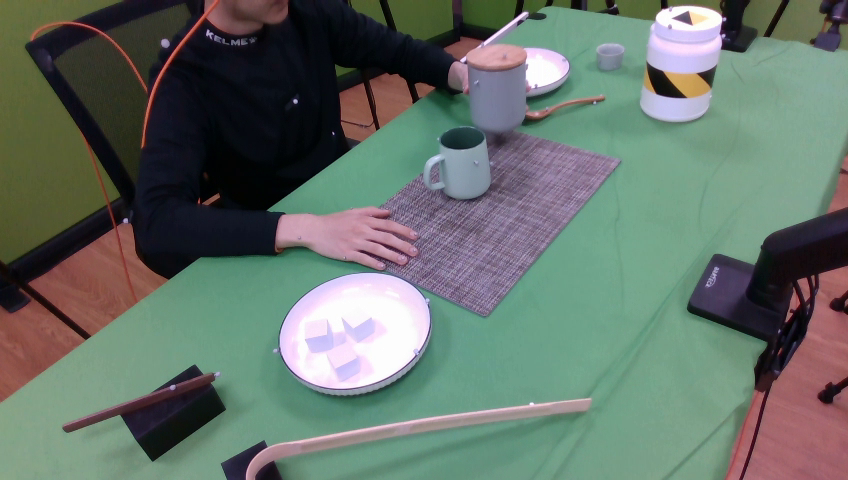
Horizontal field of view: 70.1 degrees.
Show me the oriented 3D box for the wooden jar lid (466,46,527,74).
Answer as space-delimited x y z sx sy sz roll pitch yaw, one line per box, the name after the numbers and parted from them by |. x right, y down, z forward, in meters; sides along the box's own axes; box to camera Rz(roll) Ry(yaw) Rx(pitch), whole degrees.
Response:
0.128 -0.317 1.075 0.108 0.021 0.108 -3 35 2 | wooden jar lid

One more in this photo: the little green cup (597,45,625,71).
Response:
0.423 -0.413 1.375 0.061 0.039 0.061 -3 41 3 | little green cup

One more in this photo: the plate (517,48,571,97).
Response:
0.223 -0.371 1.357 0.209 0.038 0.208 -4 41 4 | plate

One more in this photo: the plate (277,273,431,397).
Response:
-0.091 0.129 0.821 0.207 0.039 0.206 -4 40 4 | plate

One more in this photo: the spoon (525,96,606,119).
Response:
0.291 -0.277 1.249 0.194 0.022 0.041 -17 25 -11 | spoon

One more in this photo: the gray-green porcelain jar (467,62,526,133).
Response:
0.135 -0.270 1.115 0.106 0.127 0.105 -4 40 4 | gray-green porcelain jar

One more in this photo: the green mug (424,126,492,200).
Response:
0.056 -0.125 1.039 0.126 0.105 0.091 -26 45 -19 | green mug

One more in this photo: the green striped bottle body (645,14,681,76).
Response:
0.520 -0.424 1.312 0.063 0.120 0.063 -4 41 4 | green striped bottle body

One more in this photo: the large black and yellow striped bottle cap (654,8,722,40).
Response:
0.483 -0.397 1.108 0.115 0.019 0.114 -3 41 3 | large black and yellow striped bottle cap

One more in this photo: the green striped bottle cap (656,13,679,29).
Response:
0.515 -0.463 1.278 0.044 0.020 0.044 -6 42 6 | green striped bottle cap

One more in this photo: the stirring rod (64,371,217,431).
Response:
-0.337 0.192 0.724 0.177 0.014 0.005 -18 43 -12 | stirring rod

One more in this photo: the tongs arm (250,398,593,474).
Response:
0.008 0.212 0.675 0.389 0.028 0.028 -5 46 -11 | tongs arm

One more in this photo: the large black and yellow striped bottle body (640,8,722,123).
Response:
0.493 -0.334 1.161 0.131 0.185 0.130 -4 41 4 | large black and yellow striped bottle body

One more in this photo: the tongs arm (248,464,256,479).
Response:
0.012 0.262 0.615 0.385 0.026 0.050 3 42 -2 | tongs arm
